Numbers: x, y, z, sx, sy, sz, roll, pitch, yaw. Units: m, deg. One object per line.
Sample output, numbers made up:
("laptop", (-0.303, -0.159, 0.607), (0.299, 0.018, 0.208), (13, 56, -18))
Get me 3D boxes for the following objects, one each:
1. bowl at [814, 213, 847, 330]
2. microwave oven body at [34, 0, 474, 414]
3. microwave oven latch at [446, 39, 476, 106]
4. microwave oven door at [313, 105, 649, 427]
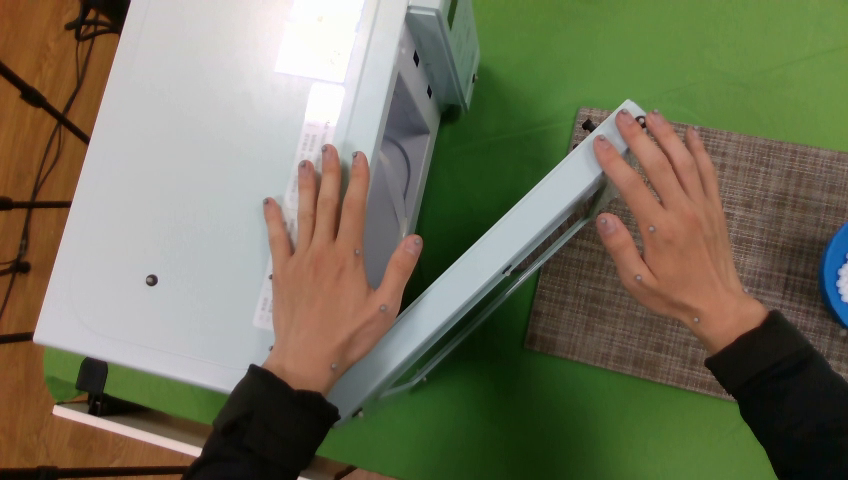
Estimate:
("bowl", (0.472, 0.037, 0.623), (0.151, 0.077, 0.151), (-1, 82, 10))
("microwave oven body", (-0.154, -0.077, 0.654), (0.325, 0.261, 0.440), (11, 84, 11))
("microwave oven latch", (0.043, -0.206, 0.738), (0.030, 0.029, 0.079), (12, 85, 11))
("microwave oven door", (0.061, 0.036, 0.596), (0.356, 0.245, 0.039), (-44, 77, 1))
